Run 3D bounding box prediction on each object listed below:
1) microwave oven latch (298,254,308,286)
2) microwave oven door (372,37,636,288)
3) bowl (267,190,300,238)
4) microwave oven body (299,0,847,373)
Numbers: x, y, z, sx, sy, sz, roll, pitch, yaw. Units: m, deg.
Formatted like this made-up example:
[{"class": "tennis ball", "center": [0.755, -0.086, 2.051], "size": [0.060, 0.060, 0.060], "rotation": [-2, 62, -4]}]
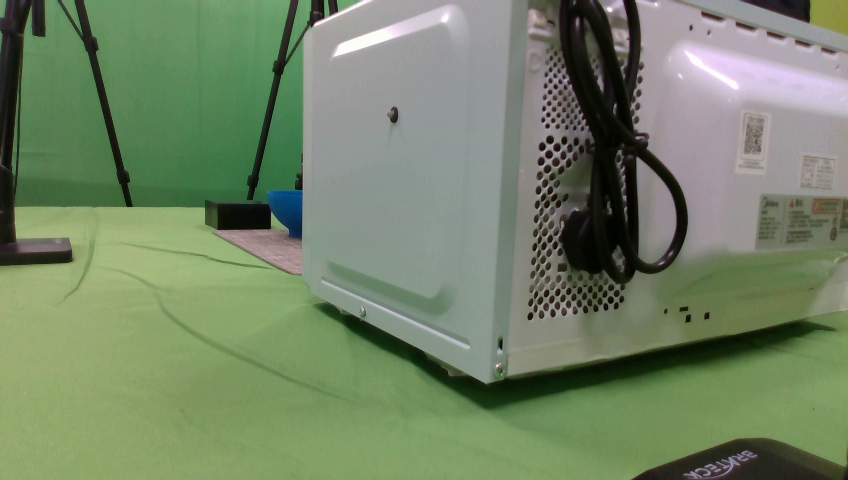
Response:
[{"class": "microwave oven latch", "center": [-0.081, 0.028, 0.582], "size": [0.079, 0.029, 0.030], "rotation": [-1, 7, -31]}, {"class": "microwave oven door", "center": [0.110, -0.080, 0.686], "size": [0.358, 0.243, 0.039], "rotation": [-2, 9, -33]}, {"class": "bowl", "center": [-0.202, -0.046, 1.069], "size": [0.151, 0.077, 0.151], "rotation": [3, 7, 0]}, {"class": "microwave oven body", "center": [0.152, -0.055, 0.542], "size": [0.444, 0.260, 0.324], "rotation": [-2, 7, -33]}]
